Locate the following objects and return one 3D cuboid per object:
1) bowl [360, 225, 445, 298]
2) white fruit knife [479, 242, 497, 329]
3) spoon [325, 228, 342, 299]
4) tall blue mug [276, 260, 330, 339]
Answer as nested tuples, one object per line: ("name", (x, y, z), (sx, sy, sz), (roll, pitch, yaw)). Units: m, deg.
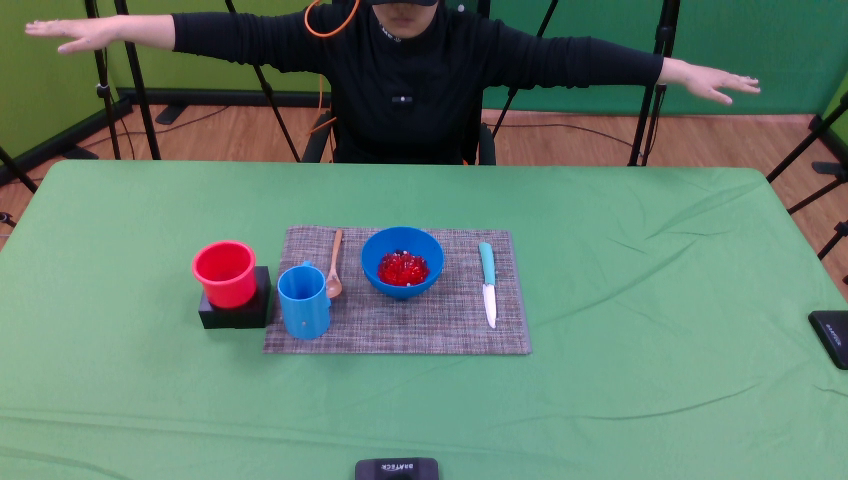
("bowl", (-0.040, 0.053, 1.099), (0.151, 0.077, 0.150), (2, 46, -2))
("white fruit knife", (0.122, 0.080, 1.130), (0.027, 0.016, 0.206), (-19, 45, 19))
("spoon", (-0.168, 0.041, 1.140), (0.041, 0.022, 0.192), (-10, 46, 11))
("tall blue mug", (-0.208, 0.094, 1.025), (0.078, 0.108, 0.106), (-21, 51, -21))
